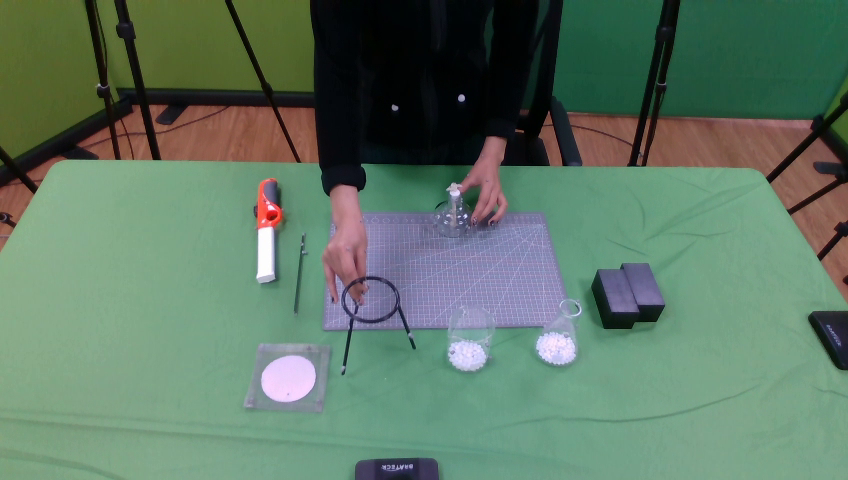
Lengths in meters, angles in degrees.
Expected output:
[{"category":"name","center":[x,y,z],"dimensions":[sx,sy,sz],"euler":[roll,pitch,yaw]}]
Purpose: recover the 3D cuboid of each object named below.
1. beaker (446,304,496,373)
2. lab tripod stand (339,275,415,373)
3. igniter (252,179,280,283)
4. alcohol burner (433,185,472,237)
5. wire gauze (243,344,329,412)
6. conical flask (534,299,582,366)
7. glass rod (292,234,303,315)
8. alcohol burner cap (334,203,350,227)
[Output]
[{"category":"beaker","center":[0.072,0.166,0.992],"dimensions":[0.084,0.101,0.073],"euler":[-21,51,-22]},{"category":"lab tripod stand","center":[-0.084,0.130,0.970],"dimensions":[0.148,0.132,0.147],"euler":[4,46,-4]},{"category":"igniter","center":[-0.312,-0.027,1.197],"dimensions":[0.057,0.025,0.274],"euler":[-12,47,-1]},{"category":"alcohol burner","center":[0.057,-0.062,1.198],"dimensions":[0.078,0.120,0.077],"euler":[1,47,-1]},{"category":"wire gauze","center":[-0.221,0.219,0.981],"dimensions":[0.125,0.011,0.120],"euler":[2,45,0]},{"category":"conical flask","center":[0.229,0.149,1.005],"dimensions":[0.075,0.122,0.075],"euler":[2,46,-2]},{"category":"glass rod","center":[-0.236,0.059,1.133],"dimensions":[0.008,0.008,0.198],"euler":[-1,46,-4]},{"category":"alcohol burner cap","center":[-0.166,-0.053,1.220],"dimensions":[0.034,0.048,0.033],"euler":[2,46,-2]}]
